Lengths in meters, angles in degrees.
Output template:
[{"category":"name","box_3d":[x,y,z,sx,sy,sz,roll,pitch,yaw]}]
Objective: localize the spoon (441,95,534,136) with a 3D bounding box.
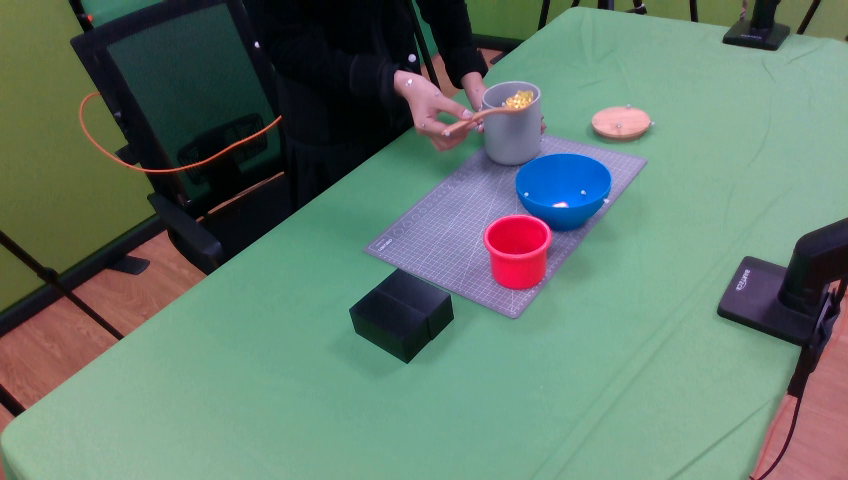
[{"category":"spoon","box_3d":[0.099,-0.194,0.937,0.195,0.022,0.041,-24,37,-33]}]

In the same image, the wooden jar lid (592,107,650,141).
[{"category":"wooden jar lid","box_3d":[0.382,-0.225,1.178,0.108,0.021,0.108,-5,40,4]}]

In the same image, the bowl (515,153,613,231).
[{"category":"bowl","box_3d":[0.224,-0.068,0.972,0.151,0.077,0.150,-5,40,5]}]

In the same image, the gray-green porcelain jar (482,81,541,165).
[{"category":"gray-green porcelain jar","box_3d":[0.163,-0.211,1.116,0.106,0.127,0.105,-5,41,5]}]
